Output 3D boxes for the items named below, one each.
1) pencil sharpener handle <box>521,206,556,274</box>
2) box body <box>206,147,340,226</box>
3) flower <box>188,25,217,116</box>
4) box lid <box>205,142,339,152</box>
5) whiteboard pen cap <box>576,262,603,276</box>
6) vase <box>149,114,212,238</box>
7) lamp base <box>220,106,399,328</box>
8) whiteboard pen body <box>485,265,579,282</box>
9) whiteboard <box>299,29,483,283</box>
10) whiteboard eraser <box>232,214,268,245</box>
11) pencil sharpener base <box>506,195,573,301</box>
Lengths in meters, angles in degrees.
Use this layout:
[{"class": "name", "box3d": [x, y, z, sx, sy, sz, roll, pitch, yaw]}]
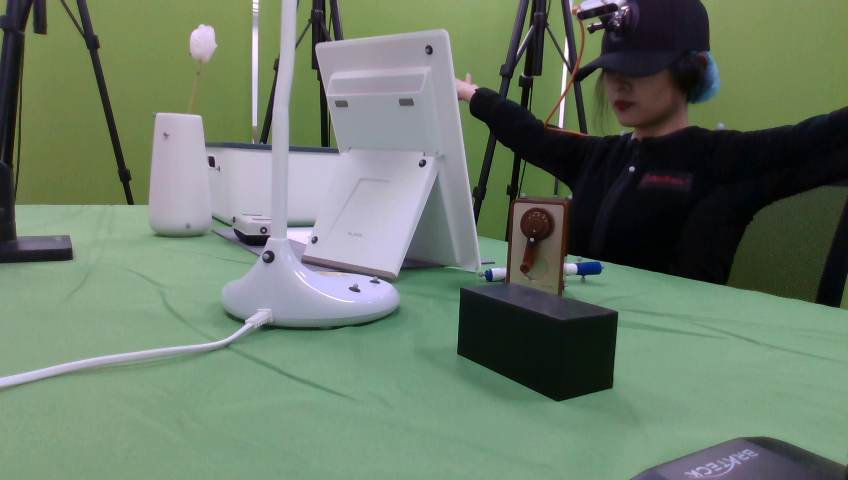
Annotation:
[{"class": "pencil sharpener handle", "box3d": [0.111, 0.000, 0.613, 0.036, 0.067, 0.031, 12, 10, 14]}, {"class": "box body", "box3d": [-0.276, -0.122, 1.320, 0.366, 0.160, 0.253, -2, 9, -30]}, {"class": "flower", "box3d": [-0.394, -0.189, 1.012, 0.044, 0.361, 0.038, -1, -13, 28]}, {"class": "box lid", "box3d": [-0.270, -0.196, 1.311, 0.373, 0.015, 0.262, -2, 9, -30]}, {"class": "whiteboard pen cap", "box3d": [0.203, 0.036, 0.749, 0.033, 0.018, 0.018, -2, 8, -7]}, {"class": "vase", "box3d": [-0.405, -0.106, 1.005, 0.098, 0.200, 0.098, 2, 6, 0]}, {"class": "lamp base", "box3d": [-0.102, -0.023, 0.531, 0.160, 0.180, 0.179, 4, 10, 10]}, {"class": "whiteboard pen body", "box3d": [0.144, 0.040, 0.738, 0.141, 0.017, 0.017, -2, 8, -10]}, {"class": "whiteboard", "box3d": [-0.074, -0.082, 0.742, 0.216, 0.305, 0.144, 9, 29, 38]}, {"class": "whiteboard eraser", "box3d": [-0.265, -0.018, 0.954, 0.056, 0.042, 0.112, -4, 10, -28]}, {"class": "pencil sharpener base", "box3d": [0.127, 0.007, 0.663, 0.061, 0.107, 0.077, 5, 8, 15]}]
